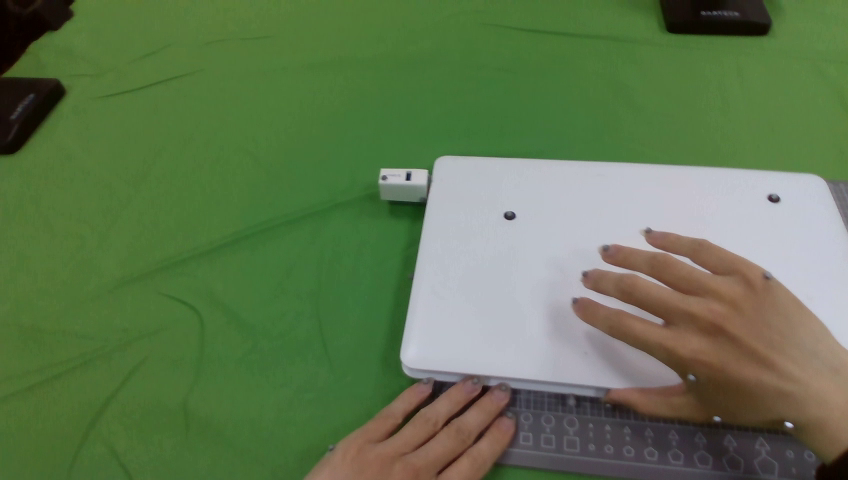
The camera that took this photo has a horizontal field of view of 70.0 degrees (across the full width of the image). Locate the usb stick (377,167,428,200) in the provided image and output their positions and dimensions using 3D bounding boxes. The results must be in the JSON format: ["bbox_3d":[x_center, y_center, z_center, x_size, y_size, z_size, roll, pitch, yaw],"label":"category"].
[{"bbox_3d":[-0.013,-0.052,0.562,0.059,0.027,0.021,4,51,1],"label":"usb stick"}]

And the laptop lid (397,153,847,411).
[{"bbox_3d":[0.167,0.016,0.489,0.356,0.013,0.239,5,51,8],"label":"laptop lid"}]

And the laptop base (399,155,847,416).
[{"bbox_3d":[0.169,0.025,0.503,0.354,0.023,0.233,4,54,7],"label":"laptop base"}]
